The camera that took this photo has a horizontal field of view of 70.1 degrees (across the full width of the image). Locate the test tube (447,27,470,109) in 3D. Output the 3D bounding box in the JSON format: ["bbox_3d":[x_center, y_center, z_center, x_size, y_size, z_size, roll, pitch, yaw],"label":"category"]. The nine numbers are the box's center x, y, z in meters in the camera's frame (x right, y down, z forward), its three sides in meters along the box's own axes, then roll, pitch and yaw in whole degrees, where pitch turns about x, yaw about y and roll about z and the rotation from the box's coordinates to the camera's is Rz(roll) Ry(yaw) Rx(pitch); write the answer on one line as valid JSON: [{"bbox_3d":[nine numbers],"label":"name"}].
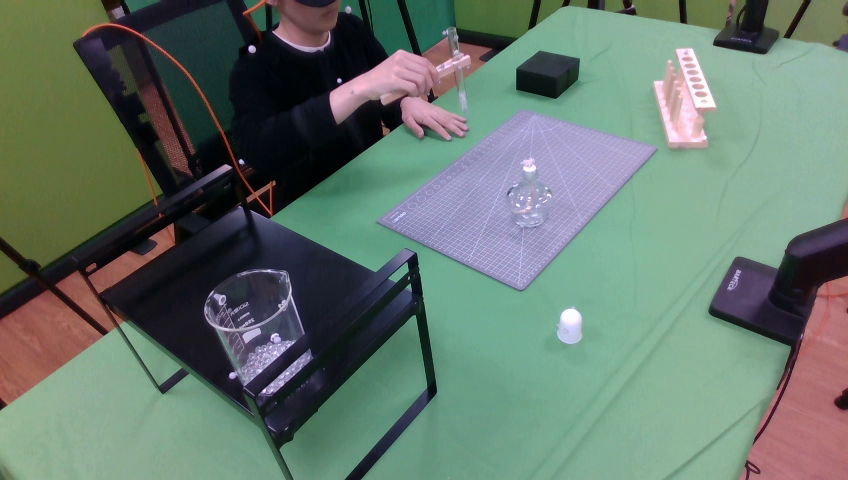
[{"bbox_3d":[0.061,-0.291,1.037,0.017,0.151,0.017,-9,42,8],"label":"test tube"}]

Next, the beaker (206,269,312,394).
[{"bbox_3d":[-0.146,0.086,0.560,0.073,0.101,0.084,19,47,27],"label":"beaker"}]

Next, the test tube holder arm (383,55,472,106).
[{"bbox_3d":[0.007,-0.265,1.000,0.179,0.015,0.013,-33,41,-21],"label":"test tube holder arm"}]

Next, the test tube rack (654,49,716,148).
[{"bbox_3d":[0.502,-0.280,1.176,0.066,0.085,0.241,2,41,11],"label":"test tube rack"}]

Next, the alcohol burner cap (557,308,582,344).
[{"bbox_3d":[0.194,0.111,0.802,0.034,0.048,0.033,-4,39,4],"label":"alcohol burner cap"}]

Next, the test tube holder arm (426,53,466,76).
[{"bbox_3d":[0.038,-0.291,1.022,0.088,0.015,0.010,-38,43,-27],"label":"test tube holder arm"}]

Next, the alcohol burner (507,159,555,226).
[{"bbox_3d":[0.172,-0.081,0.969,0.078,0.119,0.077,-4,42,4],"label":"alcohol burner"}]
